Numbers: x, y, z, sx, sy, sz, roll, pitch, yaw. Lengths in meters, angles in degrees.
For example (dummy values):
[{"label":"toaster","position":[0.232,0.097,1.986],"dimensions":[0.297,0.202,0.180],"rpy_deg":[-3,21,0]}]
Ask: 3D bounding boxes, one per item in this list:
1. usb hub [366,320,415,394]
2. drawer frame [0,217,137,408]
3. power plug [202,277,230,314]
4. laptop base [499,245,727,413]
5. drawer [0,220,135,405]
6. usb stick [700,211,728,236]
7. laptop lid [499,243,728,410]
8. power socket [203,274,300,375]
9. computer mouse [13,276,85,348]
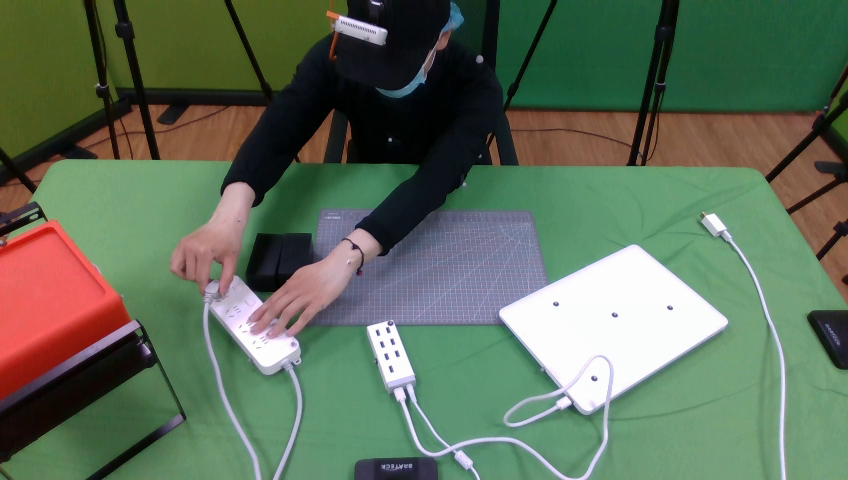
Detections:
[{"label":"usb hub","position":[-0.056,0.192,1.009],"dimensions":[0.049,0.025,0.124],"rpy_deg":[-12,49,-16]},{"label":"drawer frame","position":[-0.523,0.094,0.779],"dimensions":[0.200,0.083,0.213],"rpy_deg":[37,55,26]},{"label":"power plug","position":[-0.354,0.095,1.013],"dimensions":[0.035,0.053,0.072],"rpy_deg":[23,65,13]},{"label":"laptop base","position":[0.339,0.145,1.088],"dimensions":[0.354,0.023,0.234],"rpy_deg":[-23,49,-24]},{"label":"drawer","position":[-0.522,0.093,0.782],"dimensions":[0.193,0.073,0.211],"rpy_deg":[37,55,27]},{"label":"usb stick","position":[0.606,-0.038,1.273],"dimensions":[0.027,0.021,0.059],"rpy_deg":[-18,57,-20]},{"label":"laptop lid","position":[0.338,0.135,1.081],"dimensions":[0.357,0.013,0.240],"rpy_deg":[-21,50,-23]},{"label":"power socket","position":[-0.297,0.140,1.035],"dimensions":[0.072,0.033,0.225],"rpy_deg":[-32,57,-29]},{"label":"computer mouse","position":[-0.497,0.090,0.804],"dimensions":[0.063,0.041,0.116],"rpy_deg":[-7,42,-7]}]
